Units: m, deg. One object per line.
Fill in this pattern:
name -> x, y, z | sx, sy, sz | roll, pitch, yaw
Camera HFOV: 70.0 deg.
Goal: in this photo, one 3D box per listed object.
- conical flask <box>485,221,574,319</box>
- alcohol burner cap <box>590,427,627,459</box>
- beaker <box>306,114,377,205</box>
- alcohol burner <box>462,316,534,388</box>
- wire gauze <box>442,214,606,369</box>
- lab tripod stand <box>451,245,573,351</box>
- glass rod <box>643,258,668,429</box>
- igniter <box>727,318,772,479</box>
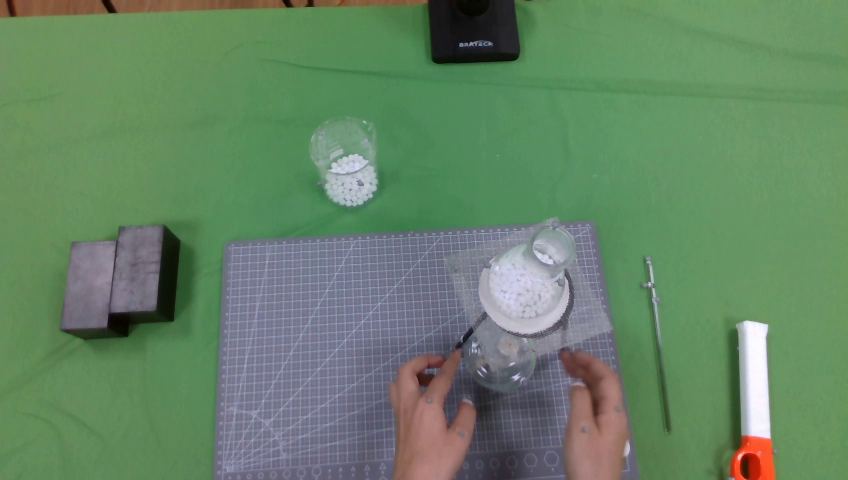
conical flask -> 0.096, 0.022, 0.524 | 0.075, 0.122, 0.075 | 1, 72, -2
alcohol burner cap -> 0.198, 0.214, 0.641 | 0.034, 0.048, 0.033 | 1, 71, -2
beaker -> -0.091, -0.092, 0.713 | 0.073, 0.101, 0.084 | 44, 74, 13
alcohol burner -> 0.081, 0.114, 0.635 | 0.078, 0.119, 0.077 | 1, 71, -2
wire gauze -> 0.095, 0.047, 0.578 | 0.125, 0.011, 0.120 | -18, 75, -10
lab tripod stand -> 0.095, 0.071, 0.640 | 0.148, 0.132, 0.147 | 0, 72, -1
glass rod -> 0.266, 0.115, 0.698 | 0.008, 0.008, 0.198 | 1, 70, -1
igniter -> 0.354, 0.221, 0.654 | 0.057, 0.025, 0.275 | 12, 70, -8
